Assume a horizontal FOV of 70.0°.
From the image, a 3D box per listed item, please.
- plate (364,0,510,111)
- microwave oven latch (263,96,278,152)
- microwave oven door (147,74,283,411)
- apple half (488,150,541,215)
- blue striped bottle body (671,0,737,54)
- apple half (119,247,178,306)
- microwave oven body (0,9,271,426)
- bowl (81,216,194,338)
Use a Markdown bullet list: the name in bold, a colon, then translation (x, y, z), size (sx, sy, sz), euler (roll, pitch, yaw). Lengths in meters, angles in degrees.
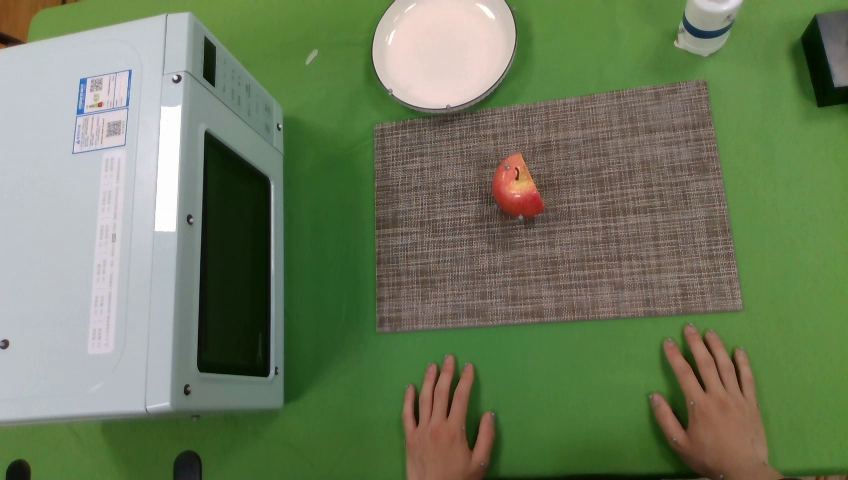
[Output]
- **plate**: translation (0.020, -0.275, 0.863), size (0.207, 0.039, 0.206), euler (-3, 76, 12)
- **microwave oven latch**: translation (-0.227, -0.167, 0.872), size (0.030, 0.030, 0.078), euler (-7, 76, 10)
- **microwave oven door**: translation (-0.237, 0.019, 0.721), size (0.039, 0.245, 0.353), euler (-7, 75, 11)
- **apple half**: translation (0.110, -0.066, 0.769), size (0.053, 0.075, 0.080), euler (-25, 76, 10)
- **blue striped bottle body**: translation (0.348, -0.289, 0.749), size (0.063, 0.121, 0.062), euler (-3, 75, 12)
- **apple half**: translation (-0.357, 0.047, 0.776), size (0.081, 0.033, 0.081), euler (0, 89, 5)
- **microwave oven body**: translation (-0.381, -0.002, 0.764), size (0.325, 0.262, 0.439), euler (-7, 76, 10)
- **bowl**: translation (-0.355, 0.050, 0.786), size (0.151, 0.077, 0.151), euler (-1, 86, 17)
